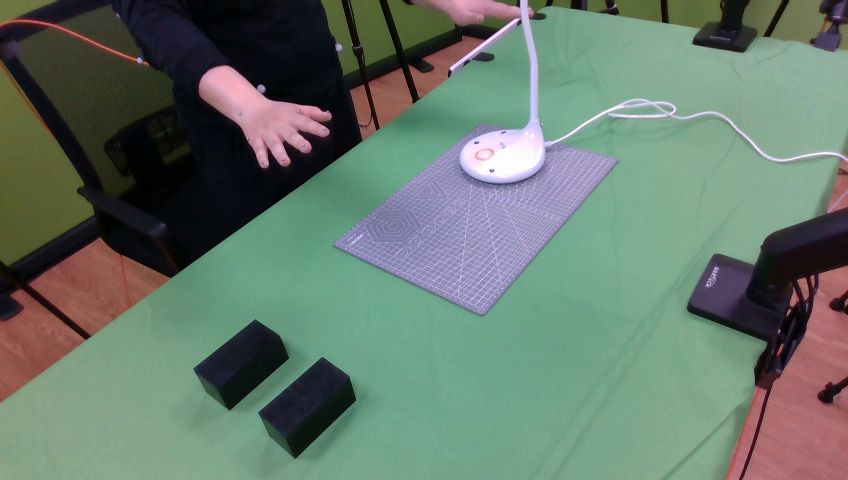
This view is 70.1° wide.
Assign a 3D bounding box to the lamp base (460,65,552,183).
[{"bbox_3d":[0.149,-0.218,1.078,0.180,0.181,0.159,-19,41,-17],"label":"lamp base"}]
